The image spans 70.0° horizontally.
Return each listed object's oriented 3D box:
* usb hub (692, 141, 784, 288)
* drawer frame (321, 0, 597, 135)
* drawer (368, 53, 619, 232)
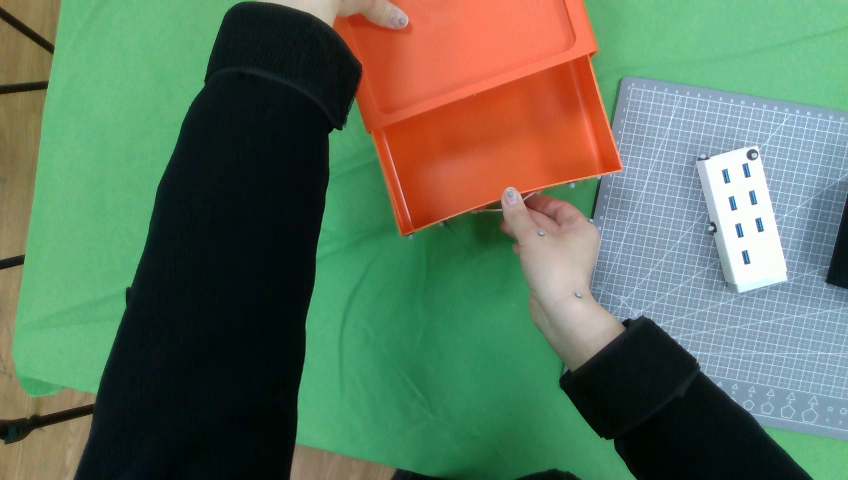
[{"bbox_3d":[0.286,-0.023,0.550,0.049,0.025,0.125,-16,96,4],"label":"usb hub"},{"bbox_3d":[0.013,-0.221,0.514,0.201,0.082,0.214,-19,94,5],"label":"drawer frame"},{"bbox_3d":[0.042,-0.133,0.528,0.194,0.073,0.212,-17,94,5],"label":"drawer"}]
